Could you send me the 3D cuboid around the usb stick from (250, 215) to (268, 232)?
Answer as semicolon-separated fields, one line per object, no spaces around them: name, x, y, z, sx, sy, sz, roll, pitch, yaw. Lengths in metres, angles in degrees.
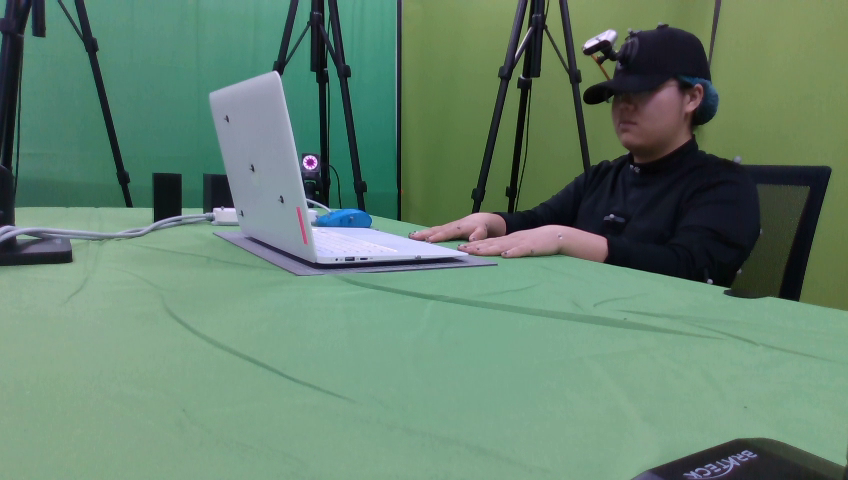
usb stick;-0.290;-0.029;1.070;0.021;0.027;0.059;0;11;-30

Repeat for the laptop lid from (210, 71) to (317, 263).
laptop lid;-0.241;-0.104;0.861;0.013;0.241;0.355;-16;17;-29

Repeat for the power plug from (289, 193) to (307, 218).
power plug;-0.281;-0.076;1.340;0.035;0.052;0.072;3;6;-17

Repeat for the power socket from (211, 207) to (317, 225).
power socket;-0.334;-0.051;1.281;0.228;0.032;0.072;-1;8;-28

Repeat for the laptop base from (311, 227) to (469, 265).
laptop base;-0.123;0.007;0.952;0.237;0.023;0.352;2;6;-32

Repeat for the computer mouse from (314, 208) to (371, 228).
computer mouse;-0.173;-0.046;1.284;0.118;0.041;0.062;-7;13;-30
